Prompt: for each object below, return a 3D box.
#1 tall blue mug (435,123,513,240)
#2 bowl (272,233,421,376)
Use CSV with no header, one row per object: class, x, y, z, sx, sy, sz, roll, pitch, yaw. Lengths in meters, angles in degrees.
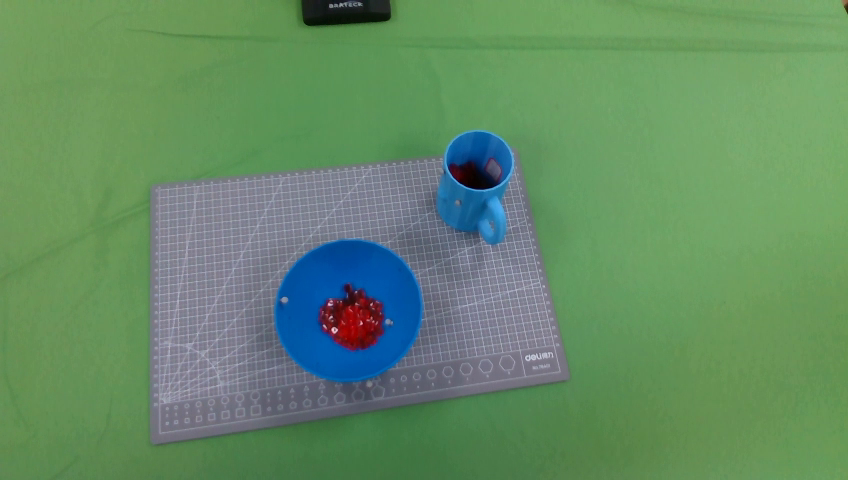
tall blue mug,0.066,-0.062,0.691,0.107,0.108,0.077,39,71,11
bowl,-0.079,0.075,0.646,0.151,0.077,0.150,2,70,-4
